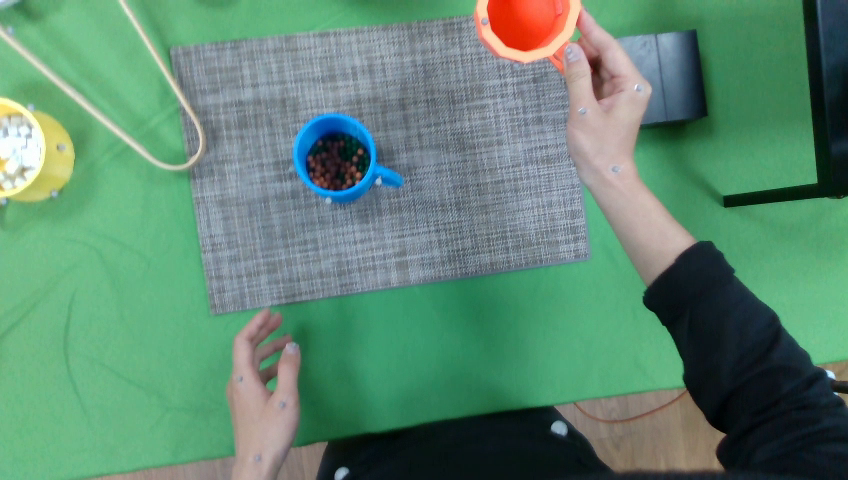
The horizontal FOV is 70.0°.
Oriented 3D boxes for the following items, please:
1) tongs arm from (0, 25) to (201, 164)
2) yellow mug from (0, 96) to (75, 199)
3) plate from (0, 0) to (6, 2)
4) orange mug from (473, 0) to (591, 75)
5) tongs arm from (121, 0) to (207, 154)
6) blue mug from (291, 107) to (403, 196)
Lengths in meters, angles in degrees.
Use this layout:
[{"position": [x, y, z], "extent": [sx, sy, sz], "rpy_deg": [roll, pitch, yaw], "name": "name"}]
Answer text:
[{"position": [-0.403, -0.211, 0.635], "extent": [0.386, 0.026, 0.051], "rpy_deg": [44, 84, -12], "name": "tongs arm"}, {"position": [-0.445, -0.084, 0.640], "extent": [0.100, 0.064, 0.131], "rpy_deg": [31, 90, -6], "name": "yellow mug"}, {"position": [-0.488, -0.348, 0.642], "extent": [0.208, 0.039, 0.207], "rpy_deg": [0, 92, -6], "name": "plate"}, {"position": [0.101, -0.201, 0.552], "extent": [0.126, 0.100, 0.083], "rpy_deg": [44, 106, -7], "name": "orange mug"}, {"position": [-0.340, -0.266, 0.643], "extent": [0.028, 0.027, 0.389], "rpy_deg": [-34, 101, -12], "name": "tongs arm"}, {"position": [-0.079, -0.086, 0.653], "extent": [0.117, 0.105, 0.082], "rpy_deg": [18, 89, -6], "name": "blue mug"}]
